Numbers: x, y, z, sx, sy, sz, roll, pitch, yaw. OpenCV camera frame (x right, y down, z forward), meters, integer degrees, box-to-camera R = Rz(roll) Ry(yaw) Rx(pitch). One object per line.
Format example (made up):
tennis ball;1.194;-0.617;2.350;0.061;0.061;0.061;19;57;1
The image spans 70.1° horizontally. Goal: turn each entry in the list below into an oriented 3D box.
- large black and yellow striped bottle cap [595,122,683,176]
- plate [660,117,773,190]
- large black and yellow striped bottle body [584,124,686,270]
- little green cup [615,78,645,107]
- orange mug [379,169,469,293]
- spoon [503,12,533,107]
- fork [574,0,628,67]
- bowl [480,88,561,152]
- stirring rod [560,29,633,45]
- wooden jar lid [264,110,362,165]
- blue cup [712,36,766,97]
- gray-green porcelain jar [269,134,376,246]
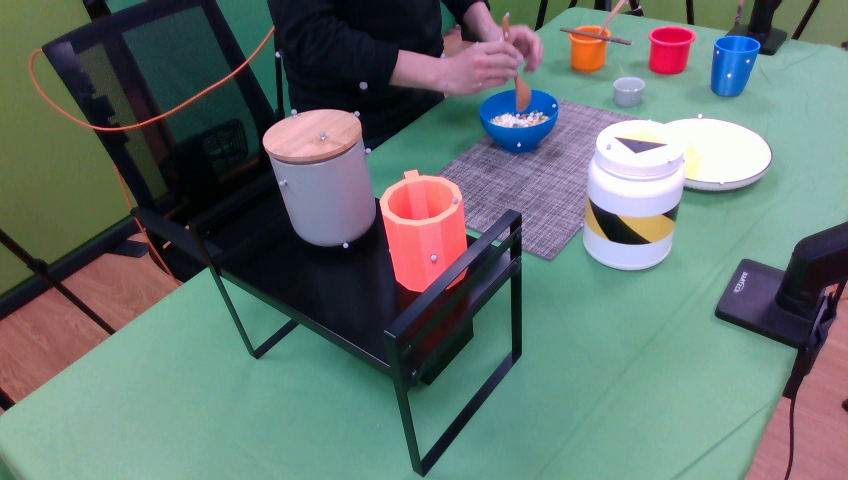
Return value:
large black and yellow striped bottle cap;0.293;-0.126;0.826;0.115;0.019;0.114;-3;40;3
plate;0.495;-0.148;1.063;0.209;0.038;0.208;-5;40;4
large black and yellow striped bottle body;0.304;-0.063;0.880;0.131;0.185;0.130;-5;41;5
little green cup;0.426;-0.306;1.257;0.061;0.039;0.061;-4;40;4
orange mug;-0.002;-0.019;0.666;0.083;0.101;0.125;-12;44;-4
spoon;0.163;-0.314;1.067;0.041;0.195;0.021;-43;45;-15
fork;0.413;-0.481;1.377;0.207;0.019;0.028;-56;43;12
bowl;0.185;-0.222;1.160;0.151;0.077;0.150;-4;40;4
stirring rod;0.381;-0.452;1.345;0.174;0.006;0.014;26;50;33
wooden jar lid;-0.122;-0.112;0.673;0.108;0.021;0.108;-4;37;4
blue cup;0.627;-0.350;1.227;0.092;0.100;0.092;-4;39;4
gray-green porcelain jar;-0.115;-0.064;0.715;0.106;0.127;0.105;-4;40;4
